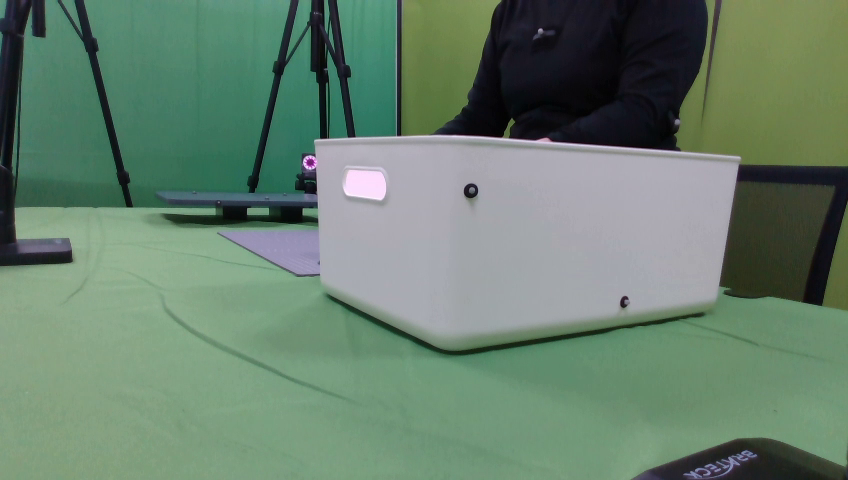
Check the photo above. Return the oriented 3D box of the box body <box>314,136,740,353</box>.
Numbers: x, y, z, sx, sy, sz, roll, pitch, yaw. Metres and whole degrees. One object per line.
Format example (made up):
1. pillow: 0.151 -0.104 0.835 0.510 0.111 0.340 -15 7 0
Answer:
1. box body: 0.098 -0.012 0.605 0.366 0.160 0.253 -2 8 -33

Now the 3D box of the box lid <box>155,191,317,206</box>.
1. box lid: -0.387 -0.091 1.340 0.373 0.015 0.262 -1 8 -30

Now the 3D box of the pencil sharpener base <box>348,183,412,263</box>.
1. pencil sharpener base: -0.059 -0.024 0.846 0.077 0.107 0.061 -1 7 -30

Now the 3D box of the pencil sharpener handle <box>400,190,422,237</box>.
1. pencil sharpener handle: -0.015 -0.038 0.872 0.031 0.067 0.036 -1 15 -30
